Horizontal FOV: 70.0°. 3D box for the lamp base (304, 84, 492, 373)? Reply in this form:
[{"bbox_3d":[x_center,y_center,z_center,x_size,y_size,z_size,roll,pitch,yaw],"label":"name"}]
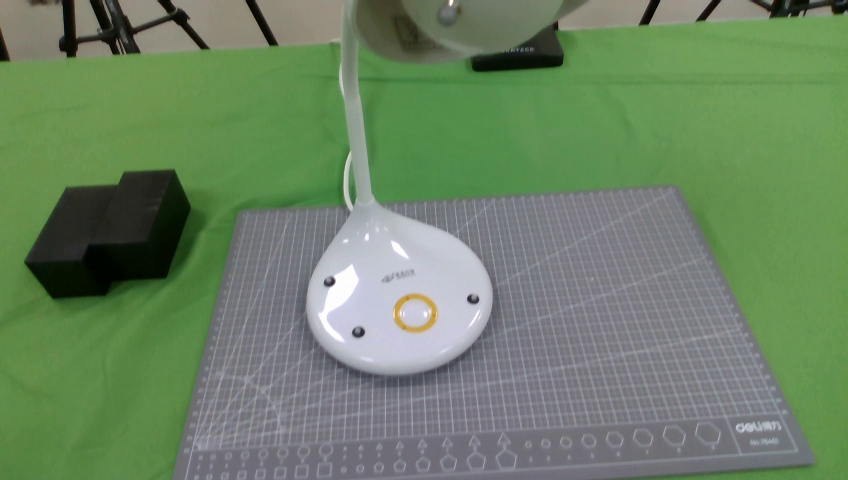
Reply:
[{"bbox_3d":[-0.032,-0.016,0.472,0.161,0.182,0.177,-25,47,-19],"label":"lamp base"}]

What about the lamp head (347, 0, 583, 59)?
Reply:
[{"bbox_3d":[0.010,-0.140,0.211,0.112,0.112,0.122,-19,78,-15],"label":"lamp head"}]
